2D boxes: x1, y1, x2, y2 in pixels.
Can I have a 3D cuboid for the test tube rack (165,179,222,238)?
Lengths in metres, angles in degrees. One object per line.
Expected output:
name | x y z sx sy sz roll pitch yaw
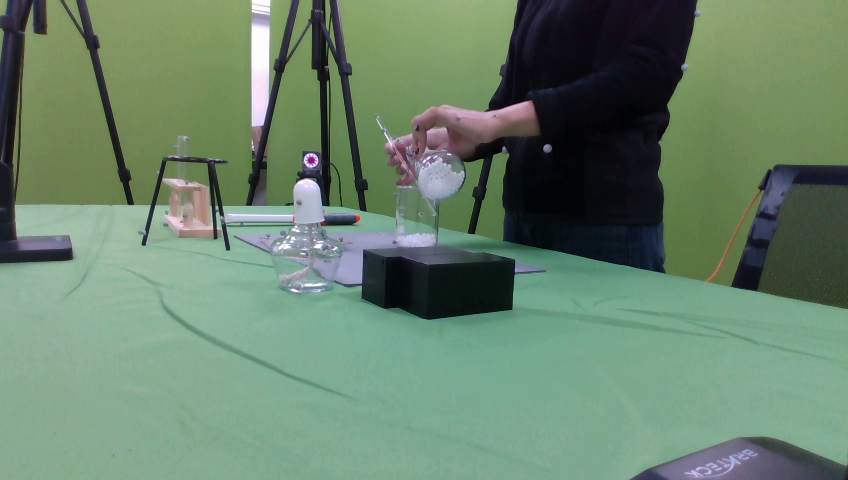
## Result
test tube rack | -0.423 -0.062 1.098 0.067 0.085 0.241 -2 9 -28

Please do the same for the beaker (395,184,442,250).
beaker | -0.009 -0.038 0.968 0.074 0.100 0.084 6 8 21

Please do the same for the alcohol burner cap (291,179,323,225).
alcohol burner cap | -0.124 -0.040 0.632 0.034 0.048 0.034 -3 10 1

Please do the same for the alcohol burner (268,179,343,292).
alcohol burner | -0.124 -0.005 0.637 0.078 0.119 0.078 4 8 0

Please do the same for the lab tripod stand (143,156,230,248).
lab tripod stand | -0.338 -0.058 0.908 0.148 0.131 0.148 4 7 0

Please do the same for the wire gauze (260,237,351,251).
wire gauze | -0.184 0.004 0.938 0.122 0.011 0.124 -1 5 -24

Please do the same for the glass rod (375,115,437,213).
glass rod | -0.030 -0.125 0.974 0.008 0.199 0.008 -28 -16 -9

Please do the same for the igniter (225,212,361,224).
igniter | -0.262 -0.045 1.240 0.278 0.025 0.057 -2 -1 -31

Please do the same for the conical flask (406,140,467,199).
conical flask | 0.010 -0.115 0.909 0.075 0.075 0.121 -1 25 -22

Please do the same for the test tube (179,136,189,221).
test tube | -0.425 -0.108 1.070 0.017 0.150 0.017 4 9 0
